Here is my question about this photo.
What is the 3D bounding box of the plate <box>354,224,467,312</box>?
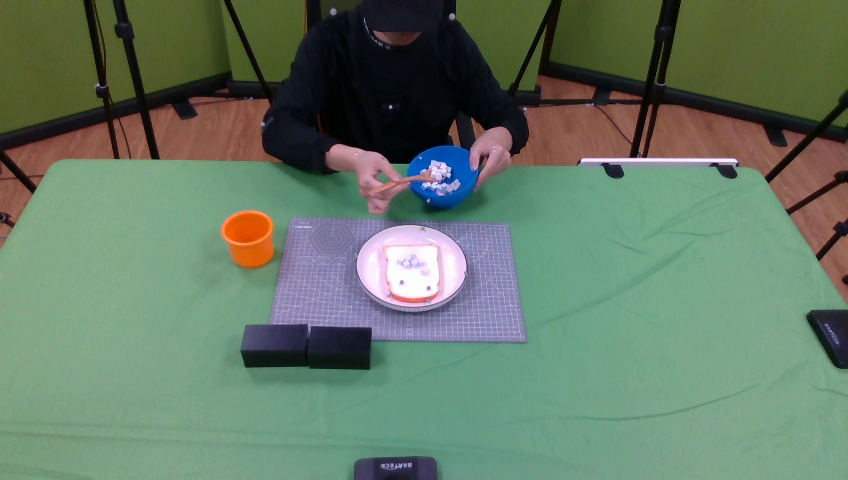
[{"bbox_3d":[-0.025,0.055,1.128,0.209,0.038,0.208,3,46,-2],"label":"plate"}]

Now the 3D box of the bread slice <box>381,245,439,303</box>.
[{"bbox_3d":[-0.022,0.061,1.126,0.107,0.018,0.133,-3,45,-8],"label":"bread slice"}]

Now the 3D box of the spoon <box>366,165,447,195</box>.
[{"bbox_3d":[-0.032,-0.114,1.152,0.194,0.022,0.041,-18,51,-39],"label":"spoon"}]

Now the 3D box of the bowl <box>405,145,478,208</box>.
[{"bbox_3d":[0.041,-0.120,1.266,0.151,0.077,0.150,-6,50,7],"label":"bowl"}]
